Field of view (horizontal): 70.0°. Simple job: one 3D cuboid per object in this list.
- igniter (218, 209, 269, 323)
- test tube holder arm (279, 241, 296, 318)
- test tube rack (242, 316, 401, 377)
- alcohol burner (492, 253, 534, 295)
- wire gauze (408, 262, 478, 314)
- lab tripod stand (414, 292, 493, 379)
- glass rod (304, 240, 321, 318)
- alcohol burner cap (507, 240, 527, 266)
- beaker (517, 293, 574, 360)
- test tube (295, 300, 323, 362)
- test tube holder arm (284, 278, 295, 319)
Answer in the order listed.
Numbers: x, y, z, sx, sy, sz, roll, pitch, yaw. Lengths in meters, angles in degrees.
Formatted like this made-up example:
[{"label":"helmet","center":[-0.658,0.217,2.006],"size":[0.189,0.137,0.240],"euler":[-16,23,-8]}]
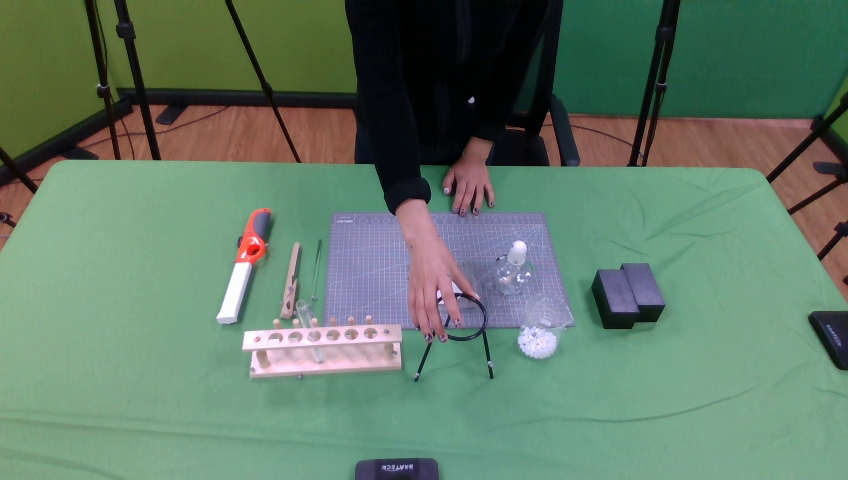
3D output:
[{"label":"igniter","center":[-0.334,0.039,1.132],"size":[0.057,0.025,0.275],"euler":[-4,46,6]},{"label":"test tube holder arm","center":[-0.250,0.069,1.113],"size":[0.013,0.015,0.177],"euler":[26,38,-30]},{"label":"test tube rack","center":[-0.161,0.166,0.983],"size":[0.242,0.085,0.066],"euler":[-2,46,-6]},{"label":"alcohol burner","center":[0.165,0.045,1.102],"size":[0.078,0.119,0.077],"euler":[3,47,-3]},{"label":"wire gauze","center":[0.035,0.085,1.127],"size":[0.121,0.011,0.124],"euler":[-2,43,-6]},{"label":"lab tripod stand","center":[0.052,0.158,0.972],"size":[0.148,0.132,0.147],"euler":[4,46,-4]},{"label":"glass rod","center":[-0.206,0.069,1.128],"size":[0.008,0.008,0.198],"euler":[2,43,-2]},{"label":"alcohol burner cap","center":[0.167,0.021,1.075],"size":[0.034,0.048,0.033],"euler":[0,56,0]},{"label":"beaker","center":[0.200,0.149,1.018],"size":[0.084,0.101,0.073],"euler":[14,47,8]},{"label":"test tube","center":[-0.176,0.143,0.935],"size":[0.017,0.151,0.017],"euler":[-2,47,2]},{"label":"test tube holder arm","center":[-0.242,0.103,1.085],"size":[0.010,0.015,0.087],"euler":[27,37,-29]}]
